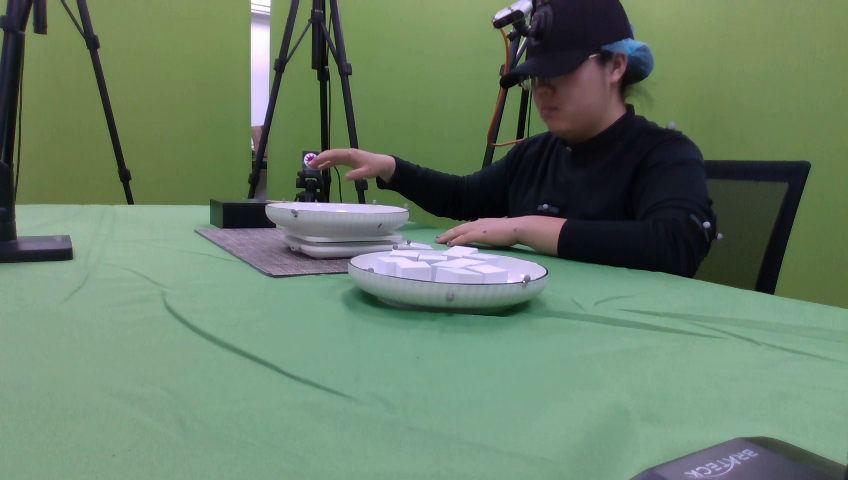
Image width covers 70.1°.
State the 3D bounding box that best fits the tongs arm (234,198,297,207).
[{"bbox_3d":[-0.263,-0.076,1.460,0.386,0.026,0.050,3,8,-8],"label":"tongs arm"}]

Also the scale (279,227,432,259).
[{"bbox_3d":[-0.100,0.001,0.899,0.202,0.031,0.148,-1,9,-31],"label":"scale"}]

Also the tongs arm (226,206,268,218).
[{"bbox_3d":[-0.247,-0.062,1.381,0.389,0.028,0.028,0,5,-21],"label":"tongs arm"}]

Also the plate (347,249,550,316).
[{"bbox_3d":[0.025,0.042,0.627,0.209,0.038,0.209,2,7,0],"label":"plate"}]

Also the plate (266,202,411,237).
[{"bbox_3d":[-0.123,-0.030,0.879,0.208,0.039,0.207,2,6,0],"label":"plate"}]
